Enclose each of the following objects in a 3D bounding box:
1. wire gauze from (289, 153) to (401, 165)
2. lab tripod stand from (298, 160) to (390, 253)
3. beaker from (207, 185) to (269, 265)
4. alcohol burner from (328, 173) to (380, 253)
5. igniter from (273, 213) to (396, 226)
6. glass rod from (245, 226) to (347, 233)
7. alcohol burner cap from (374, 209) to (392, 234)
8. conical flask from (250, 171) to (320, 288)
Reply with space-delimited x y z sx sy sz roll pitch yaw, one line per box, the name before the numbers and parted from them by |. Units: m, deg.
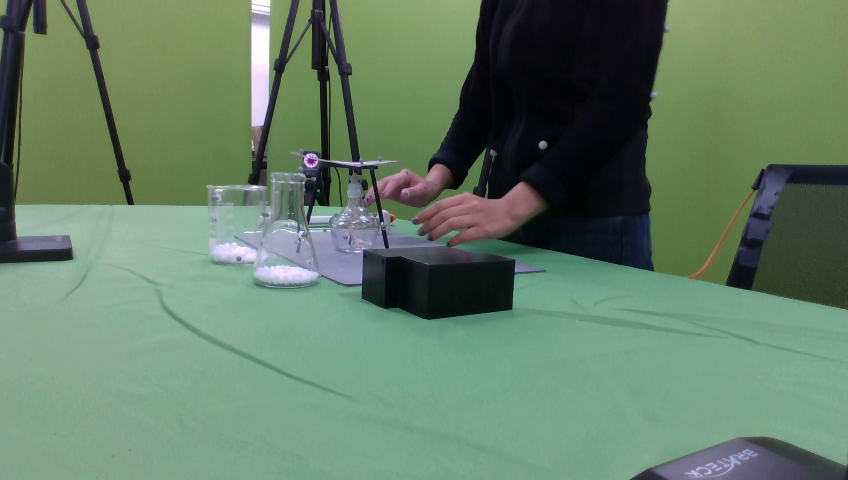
wire gauze | -0.112 -0.116 0.884 0.124 0.011 0.122 8 8 27
lab tripod stand | -0.111 -0.050 0.893 0.148 0.131 0.148 4 6 0
beaker | -0.244 -0.021 0.784 0.083 0.100 0.074 6 8 30
alcohol burner | -0.104 -0.041 0.902 0.078 0.119 0.078 0 7 0
igniter | -0.179 -0.044 1.258 0.278 0.025 0.057 -3 -1 -39
glass rod | -0.237 -0.021 1.140 0.201 0.008 0.008 -3 8 -33
alcohol burner cap | -0.078 -0.036 1.148 0.034 0.048 0.034 2 7 0
conical flask | -0.150 -0.013 0.658 0.075 0.122 0.075 2 7 0
